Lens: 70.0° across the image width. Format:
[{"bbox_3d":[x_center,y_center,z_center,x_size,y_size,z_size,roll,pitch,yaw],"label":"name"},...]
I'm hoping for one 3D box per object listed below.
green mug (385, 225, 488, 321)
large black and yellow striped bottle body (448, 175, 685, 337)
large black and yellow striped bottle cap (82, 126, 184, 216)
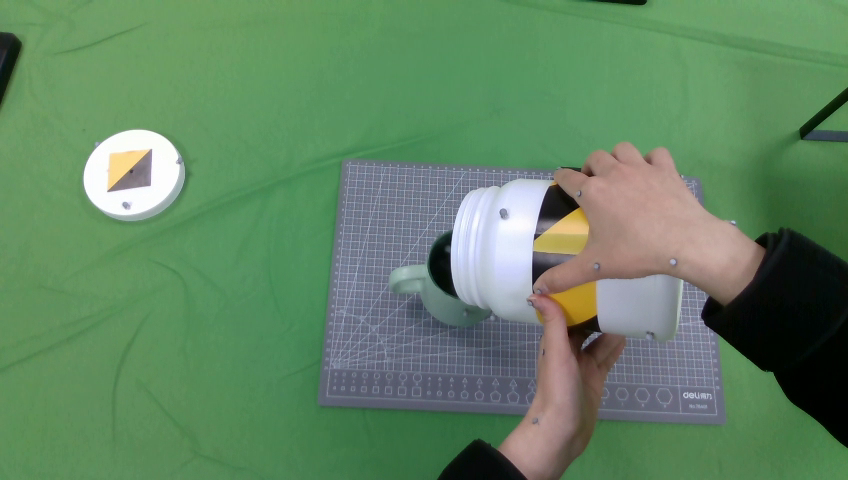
[{"bbox_3d":[0.020,0.037,0.656,0.125,0.105,0.092,-4,72,-4],"label":"green mug"},{"bbox_3d":[0.125,0.009,0.530,0.183,0.132,0.130,5,69,24],"label":"large black and yellow striped bottle body"},{"bbox_3d":[-0.351,-0.085,0.730,0.115,0.019,0.114,1,71,-2],"label":"large black and yellow striped bottle cap"}]
